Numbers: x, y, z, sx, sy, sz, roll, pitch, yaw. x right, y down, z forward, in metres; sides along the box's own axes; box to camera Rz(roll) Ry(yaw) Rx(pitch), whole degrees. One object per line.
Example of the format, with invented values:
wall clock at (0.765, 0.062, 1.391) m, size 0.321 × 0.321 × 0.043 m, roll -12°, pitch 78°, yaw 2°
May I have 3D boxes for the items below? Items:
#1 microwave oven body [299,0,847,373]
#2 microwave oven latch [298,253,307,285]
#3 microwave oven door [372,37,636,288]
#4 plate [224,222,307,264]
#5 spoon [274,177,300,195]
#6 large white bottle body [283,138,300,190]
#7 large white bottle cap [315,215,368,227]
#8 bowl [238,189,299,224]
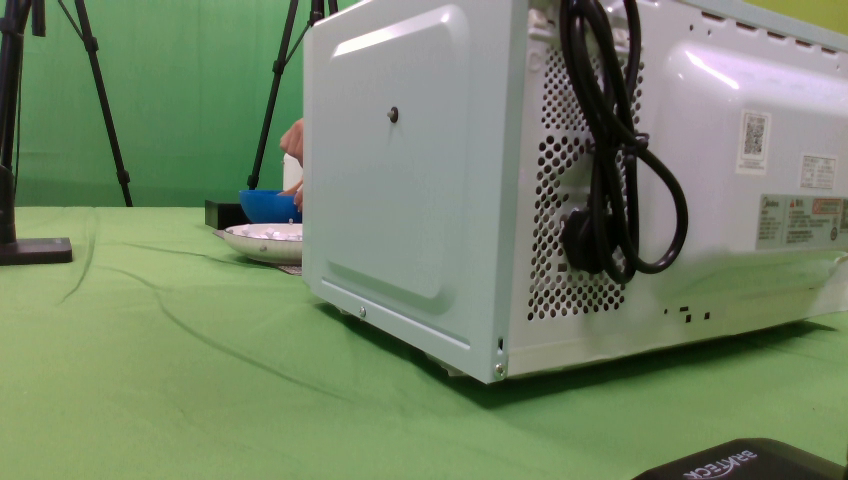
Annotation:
microwave oven body at (0.151, -0.055, 0.542) m, size 0.444 × 0.260 × 0.324 m, roll -2°, pitch 7°, yaw -33°
microwave oven latch at (-0.081, 0.027, 0.583) m, size 0.079 × 0.029 × 0.030 m, roll -2°, pitch 7°, yaw -33°
microwave oven door at (0.110, -0.080, 0.686) m, size 0.358 × 0.243 × 0.039 m, roll -2°, pitch 9°, yaw -33°
plate at (-0.171, 0.004, 0.849) m, size 0.209 × 0.038 × 0.209 m, roll 2°, pitch 7°, yaw 0°
spoon at (-0.223, -0.105, 1.069) m, size 0.021 × 0.042 × 0.194 m, roll 1°, pitch 44°, yaw 29°
large white bottle body at (-0.265, -0.143, 1.424) m, size 0.131 × 0.184 × 0.130 m, roll 2°, pitch 7°, yaw 0°
large white bottle cap at (-0.178, -0.041, 1.309) m, size 0.115 × 0.018 × 0.115 m, roll 2°, pitch 6°, yaw 0°
bowl at (-0.245, -0.045, 1.053) m, size 0.151 × 0.077 × 0.151 m, roll 3°, pitch 8°, yaw 0°
